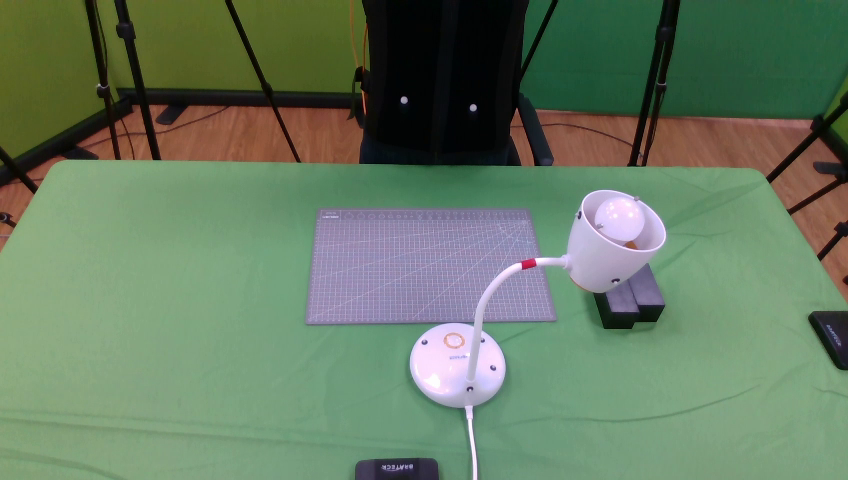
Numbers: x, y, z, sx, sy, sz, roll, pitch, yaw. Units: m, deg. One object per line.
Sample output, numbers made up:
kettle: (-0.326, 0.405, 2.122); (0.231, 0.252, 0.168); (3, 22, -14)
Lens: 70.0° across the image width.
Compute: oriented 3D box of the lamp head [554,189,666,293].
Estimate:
lamp head: (0.234, 0.012, 0.796); (0.113, 0.123, 0.111); (13, 43, -12)

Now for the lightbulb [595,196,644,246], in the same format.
lightbulb: (0.244, -0.008, 0.784); (0.059, 0.108, 0.059); (8, 40, -7)

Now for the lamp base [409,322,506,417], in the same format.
lamp base: (0.063, 0.160, 0.941); (0.161, 0.181, 0.178); (-10, 50, -13)
